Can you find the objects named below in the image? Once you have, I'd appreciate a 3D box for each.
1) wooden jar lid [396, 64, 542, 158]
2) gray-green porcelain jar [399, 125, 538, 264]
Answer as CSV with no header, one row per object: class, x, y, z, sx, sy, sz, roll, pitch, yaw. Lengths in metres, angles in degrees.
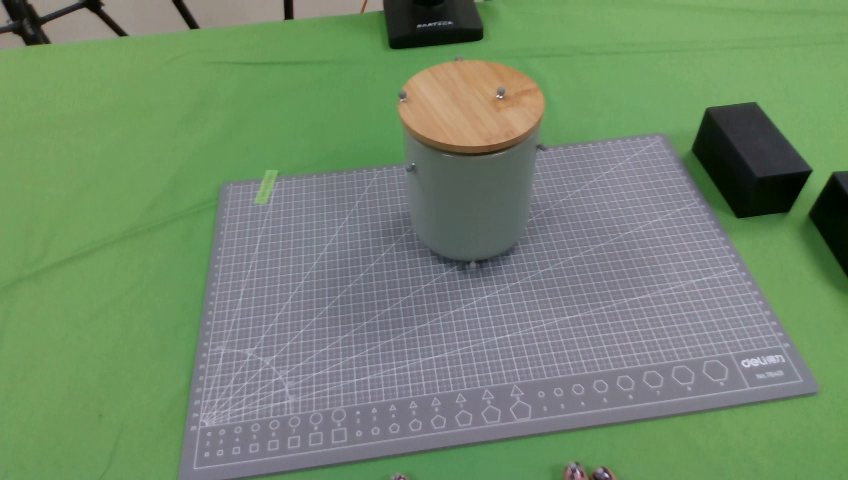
wooden jar lid,0.033,-0.095,0.453,0.108,0.021,0.107,-1,47,2
gray-green porcelain jar,0.036,-0.051,0.501,0.106,0.127,0.105,-1,48,2
